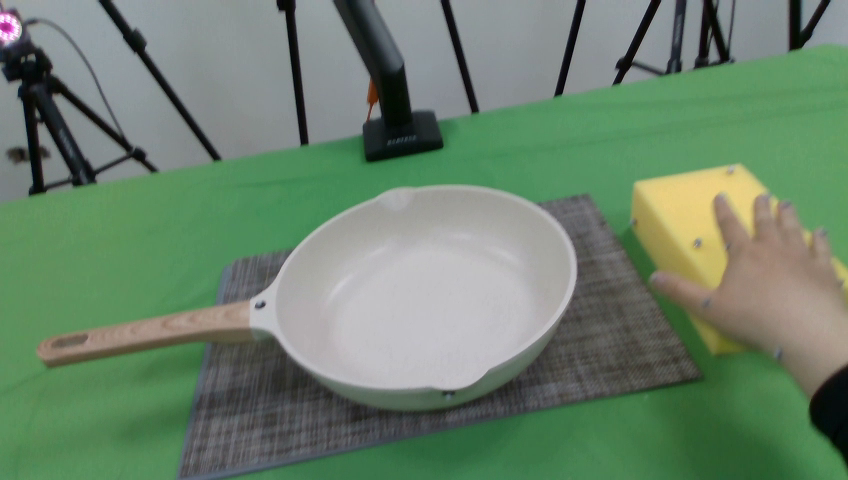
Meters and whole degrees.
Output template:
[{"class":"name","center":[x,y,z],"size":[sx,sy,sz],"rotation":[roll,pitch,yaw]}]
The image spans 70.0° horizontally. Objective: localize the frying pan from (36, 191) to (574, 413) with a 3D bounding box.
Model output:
[{"class":"frying pan","center":[-0.103,0.067,0.581],"size":[0.489,0.103,0.303],"rotation":[-7,34,-10]}]

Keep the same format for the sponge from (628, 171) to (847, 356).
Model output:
[{"class":"sponge","center":[0.298,0.013,0.601],"size":[0.118,0.061,0.204],"rotation":[-10,35,0]}]
